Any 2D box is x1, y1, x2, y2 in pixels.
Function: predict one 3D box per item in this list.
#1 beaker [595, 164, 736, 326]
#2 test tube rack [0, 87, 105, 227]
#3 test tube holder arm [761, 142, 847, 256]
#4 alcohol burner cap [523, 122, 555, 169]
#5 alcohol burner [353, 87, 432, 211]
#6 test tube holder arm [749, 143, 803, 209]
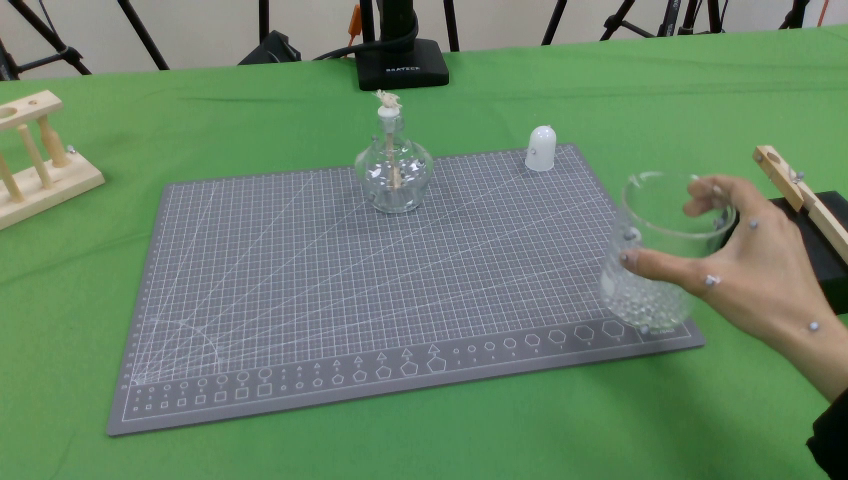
[{"bbox_3d":[0.165,0.005,0.437,0.074,0.101,0.083,-17,44,-19],"label":"beaker"},{"bbox_3d":[-0.442,-0.051,0.562,0.066,0.086,0.242,32,51,31],"label":"test tube rack"},{"bbox_3d":[0.334,-0.031,0.520,0.013,0.015,0.176,-10,42,1],"label":"test tube holder arm"},{"bbox_3d":[0.124,-0.104,0.650,0.034,0.048,0.033,0,42,0],"label":"alcohol burner cap"},{"bbox_3d":[-0.031,-0.089,0.579,0.078,0.120,0.077,-1,41,1],"label":"alcohol burner"},{"bbox_3d":[0.324,-0.060,0.553,0.010,0.015,0.087,-10,42,1],"label":"test tube holder arm"}]
